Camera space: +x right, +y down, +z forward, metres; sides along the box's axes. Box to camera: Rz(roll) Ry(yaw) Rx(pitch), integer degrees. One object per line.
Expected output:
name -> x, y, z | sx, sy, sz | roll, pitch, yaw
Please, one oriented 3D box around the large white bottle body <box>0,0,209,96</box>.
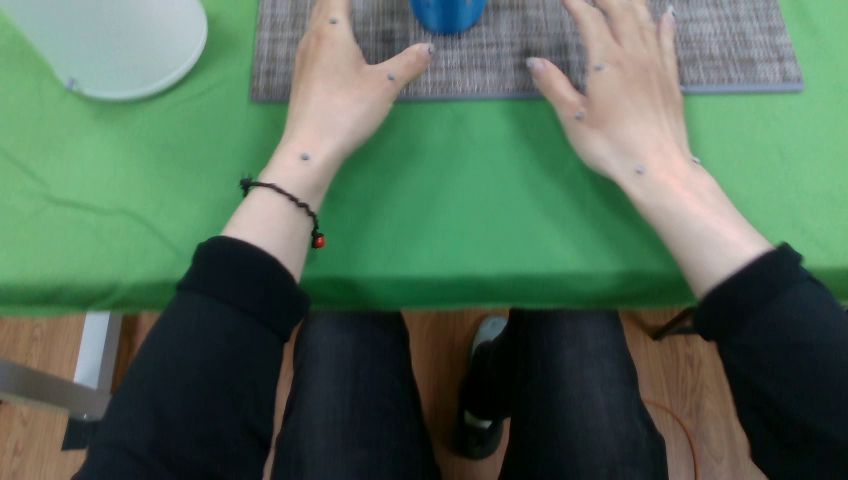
large white bottle body -> -0.248, -0.208, 0.434 | 0.130, 0.186, 0.129 | 0, 67, 1
